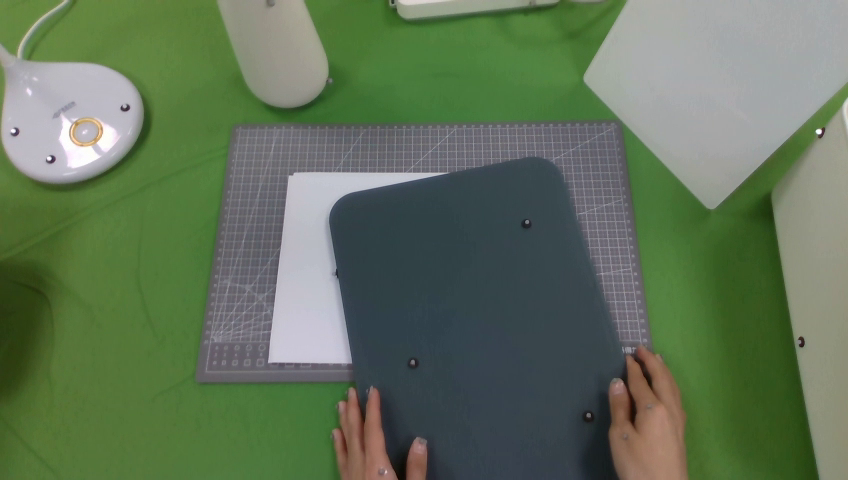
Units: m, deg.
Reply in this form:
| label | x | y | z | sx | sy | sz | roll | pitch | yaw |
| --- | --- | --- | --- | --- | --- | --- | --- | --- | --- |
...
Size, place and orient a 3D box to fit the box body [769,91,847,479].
| label | x | y | z | sx | sy | sz | roll | pitch | yaw |
| --- | --- | --- | --- | --- | --- | --- | --- | --- | --- |
| box body | 0.476 | 0.064 | 0.525 | 0.254 | 0.161 | 0.361 | 2 | 68 | 2 |

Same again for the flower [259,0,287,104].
| label | x | y | z | sx | sy | sz | roll | pitch | yaw |
| --- | --- | --- | --- | --- | --- | --- | --- | --- | --- |
| flower | -0.163 | -0.281 | 0.571 | 0.038 | 0.365 | 0.043 | -12 | 50 | -11 |

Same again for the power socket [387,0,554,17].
| label | x | y | z | sx | sy | sz | roll | pitch | yaw |
| --- | --- | --- | --- | --- | --- | --- | --- | --- | --- |
| power socket | 0.065 | -0.326 | 0.762 | 0.227 | 0.033 | 0.071 | -6 | 69 | -1 |

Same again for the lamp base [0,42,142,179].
| label | x | y | z | sx | sy | sz | roll | pitch | yaw |
| --- | --- | --- | --- | --- | --- | --- | --- | --- | --- |
| lamp base | -0.422 | -0.178 | 0.634 | 0.178 | 0.181 | 0.160 | 31 | 71 | 16 |

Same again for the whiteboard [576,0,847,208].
| label | x | y | z | sx | sy | sz | roll | pitch | yaw |
| --- | --- | --- | --- | --- | --- | --- | --- | --- | --- |
| whiteboard | 0.333 | -0.221 | 0.599 | 0.144 | 0.307 | 0.215 | -25 | 67 | -29 |

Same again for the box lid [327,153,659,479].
| label | x | y | z | sx | sy | sz | roll | pitch | yaw |
| --- | --- | --- | --- | --- | --- | --- | --- | --- | --- |
| box lid | 0.055 | 0.088 | 0.606 | 0.263 | 0.015 | 0.368 | -12 | 69 | -4 |

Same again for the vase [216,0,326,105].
| label | x | y | z | sx | sy | sz | roll | pitch | yaw |
| --- | --- | --- | --- | --- | --- | --- | --- | --- | --- |
| vase | -0.167 | -0.233 | 0.640 | 0.098 | 0.201 | 0.097 | -1 | 67 | 3 |
